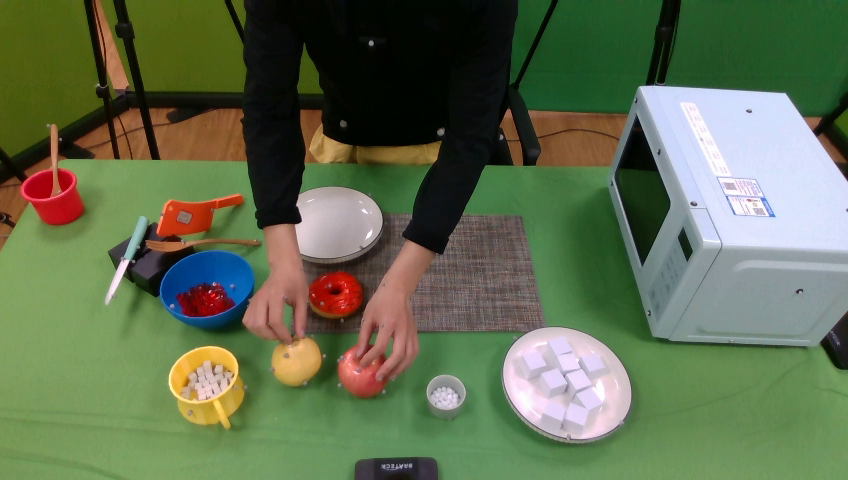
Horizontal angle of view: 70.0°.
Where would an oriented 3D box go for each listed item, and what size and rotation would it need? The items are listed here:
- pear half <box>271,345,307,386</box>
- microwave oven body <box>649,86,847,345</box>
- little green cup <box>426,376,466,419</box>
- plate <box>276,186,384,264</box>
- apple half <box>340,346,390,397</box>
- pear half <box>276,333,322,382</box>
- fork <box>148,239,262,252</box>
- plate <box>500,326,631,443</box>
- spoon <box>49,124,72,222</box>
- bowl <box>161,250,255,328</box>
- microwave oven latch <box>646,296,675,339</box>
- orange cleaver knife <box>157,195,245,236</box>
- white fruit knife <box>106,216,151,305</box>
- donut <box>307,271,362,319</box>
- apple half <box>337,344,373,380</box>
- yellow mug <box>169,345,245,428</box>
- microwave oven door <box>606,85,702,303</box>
[{"bbox_3d":[-0.216,0.200,0.943,0.070,0.088,0.031,27,48,15],"label":"pear half"},{"bbox_3d":[0.567,-0.053,1.118,0.326,0.261,0.439,2,45,-1],"label":"microwave oven body"},{"bbox_3d":[0.033,0.248,0.950,0.061,0.039,0.061,2,47,-2],"label":"little green cup"},{"bbox_3d":[-0.184,-0.027,1.195,0.209,0.038,0.208,2,46,-2],"label":"plate"},{"bbox_3d":[-0.086,0.214,0.950,0.081,0.075,0.053,-30,58,-31],"label":"apple half"},{"bbox_3d":[-0.195,0.172,0.957,0.076,0.110,0.056,28,51,17],"label":"pear half"},{"bbox_3d":[-0.399,0.007,1.118,0.208,0.019,0.028,-4,36,-36],"label":"fork"},{"bbox_3d":[0.224,0.234,0.978,0.208,0.039,0.206,2,46,-2],"label":"plate"},{"bbox_3d":[-0.717,-0.132,1.188,0.042,0.021,0.193,-3,90,-8],"label":"spoon"},{"bbox_3d":[-0.362,0.097,1.040,0.151,0.077,0.150,2,45,-2],"label":"bowl"},{"bbox_3d":[0.412,0.134,1.061,0.030,0.029,0.078,4,45,1],"label":"microwave oven latch"},{"bbox_3d":[-0.427,-0.050,1.175,0.012,0.077,0.211,23,19,20],"label":"orange cleaver knife"},{"bbox_3d":[-0.519,0.032,1.066,0.027,0.016,0.206,-18,45,19],"label":"white fruit knife"},{"bbox_3d":[-0.158,0.097,1.073,0.099,0.048,0.098,5,44,-5],"label":"donut"},{"bbox_3d":[-0.112,0.193,0.968,0.081,0.081,0.032,-31,58,-29],"label":"apple half"},{"bbox_3d":[-0.323,0.230,0.922,0.100,0.064,0.130,-24,54,-25],"label":"yellow mug"},{"bbox_3d":[0.422,-0.094,1.140,0.039,0.245,0.353,3,46,-1],"label":"microwave oven door"}]
